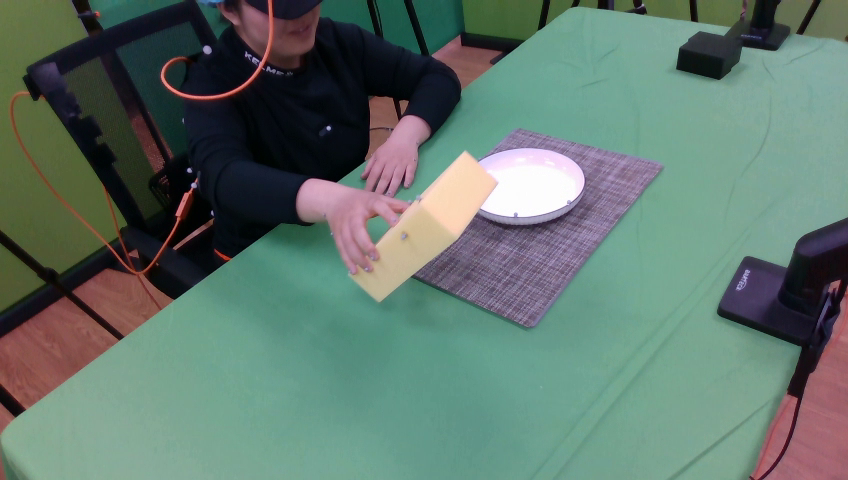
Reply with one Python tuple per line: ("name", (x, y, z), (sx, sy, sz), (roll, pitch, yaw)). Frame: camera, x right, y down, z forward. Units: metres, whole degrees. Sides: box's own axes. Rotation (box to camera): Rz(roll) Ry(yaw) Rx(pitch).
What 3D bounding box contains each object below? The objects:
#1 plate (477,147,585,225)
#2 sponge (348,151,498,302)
("plate", (0.170, -0.089, 1.041), (0.207, 0.039, 0.206), (-5, 40, 5))
("sponge", (-0.005, -0.012, 0.789), (0.061, 0.206, 0.118), (43, 49, -6))
